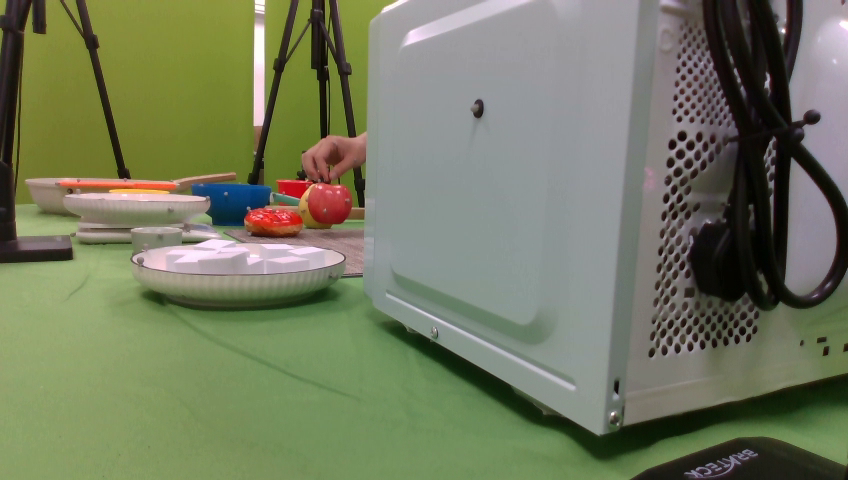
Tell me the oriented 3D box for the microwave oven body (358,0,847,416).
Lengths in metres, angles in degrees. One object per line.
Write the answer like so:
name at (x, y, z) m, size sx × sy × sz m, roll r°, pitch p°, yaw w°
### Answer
microwave oven body at (0.211, -0.047, 0.474) m, size 0.444 × 0.260 × 0.324 m, roll -1°, pitch 7°, yaw -28°

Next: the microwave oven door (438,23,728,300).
microwave oven door at (0.181, -0.073, 0.621) m, size 0.358 × 0.243 × 0.039 m, roll -2°, pitch 8°, yaw -29°

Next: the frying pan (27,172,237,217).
frying pan at (-0.624, -0.118, 1.387) m, size 0.305 × 0.102 × 0.490 m, roll 8°, pitch 17°, yaw 32°

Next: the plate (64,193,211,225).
plate at (-0.446, -0.050, 0.952) m, size 0.209 × 0.038 × 0.209 m, roll 2°, pitch 7°, yaw 0°

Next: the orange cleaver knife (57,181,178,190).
orange cleaver knife at (-0.600, -0.109, 1.189) m, size 0.212 × 0.012 × 0.077 m, roll -1°, pitch 11°, yaw -26°

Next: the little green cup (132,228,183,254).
little green cup at (-0.342, 0.006, 0.779) m, size 0.061 × 0.038 × 0.061 m, roll 2°, pitch 8°, yaw 0°

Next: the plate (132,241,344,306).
plate at (-0.187, 0.033, 0.625) m, size 0.208 × 0.039 × 0.207 m, roll 2°, pitch 7°, yaw 0°

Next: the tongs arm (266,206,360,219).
tongs arm at (-0.173, -0.061, 1.362) m, size 0.387 × 0.026 × 0.050 m, roll -1°, pitch 5°, yaw -31°

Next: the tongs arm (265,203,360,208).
tongs arm at (-0.209, -0.070, 1.439) m, size 0.389 × 0.027 × 0.028 m, roll 1°, pitch 1°, yaw -16°

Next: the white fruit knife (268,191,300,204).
white fruit knife at (-0.364, -0.105, 1.464) m, size 0.208 × 0.027 × 0.016 m, roll 15°, pitch -1°, yaw -34°

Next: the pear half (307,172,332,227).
pear half at (-0.199, -0.079, 1.203) m, size 0.056 × 0.110 × 0.076 m, roll 2°, pitch 11°, yaw 1°

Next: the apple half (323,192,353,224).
apple half at (-0.168, -0.068, 1.119) m, size 0.081 × 0.081 × 0.033 m, roll 2°, pitch 15°, yaw 2°

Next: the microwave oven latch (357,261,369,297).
microwave oven latch at (-0.019, 0.033, 0.530) m, size 0.079 × 0.029 × 0.030 m, roll -1°, pitch 7°, yaw -26°

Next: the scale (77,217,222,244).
scale at (-0.434, -0.019, 0.963) m, size 0.202 × 0.031 × 0.148 m, roll -1°, pitch 8°, yaw -27°

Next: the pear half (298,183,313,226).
pear half at (-0.235, -0.071, 1.207) m, size 0.031 × 0.088 × 0.070 m, roll 3°, pitch 10°, yaw 0°

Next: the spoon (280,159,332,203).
spoon at (-0.316, -0.159, 1.640) m, size 0.194 × 0.022 × 0.041 m, roll -50°, pitch 32°, yaw -20°

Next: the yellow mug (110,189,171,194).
yellow mug at (-0.519, -0.055, 1.080) m, size 0.099 × 0.064 × 0.131 m, roll 7°, pitch 10°, yaw 26°

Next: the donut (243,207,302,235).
donut at (-0.261, -0.032, 1.043) m, size 0.099 × 0.048 × 0.099 m, roll 4°, pitch 9°, yaw 0°

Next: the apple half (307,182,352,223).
apple half at (-0.174, -0.067, 1.078) m, size 0.081 × 0.074 × 0.053 m, roll 8°, pitch 7°, yaw 8°

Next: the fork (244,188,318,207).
fork at (-0.356, -0.105, 1.526) m, size 0.208 × 0.018 × 0.028 m, roll 16°, pitch -5°, yaw -41°

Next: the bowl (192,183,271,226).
bowl at (-0.382, -0.071, 1.202) m, size 0.151 × 0.077 × 0.151 m, roll 3°, pitch 7°, yaw 0°
